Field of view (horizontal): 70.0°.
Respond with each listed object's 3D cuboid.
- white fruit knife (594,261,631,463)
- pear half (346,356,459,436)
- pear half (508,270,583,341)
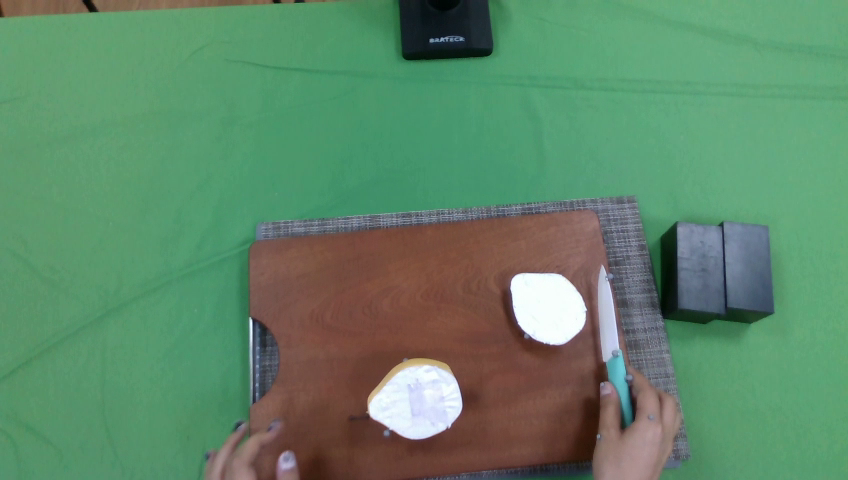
[{"bbox_3d":[0.191,0.121,0.625,0.016,0.027,0.206,12,68,-34],"label":"white fruit knife"},{"bbox_3d":[-0.023,0.156,0.603,0.110,0.056,0.076,-10,90,-7],"label":"pear half"},{"bbox_3d":[0.128,0.068,0.646,0.070,0.031,0.087,-47,63,1],"label":"pear half"}]
